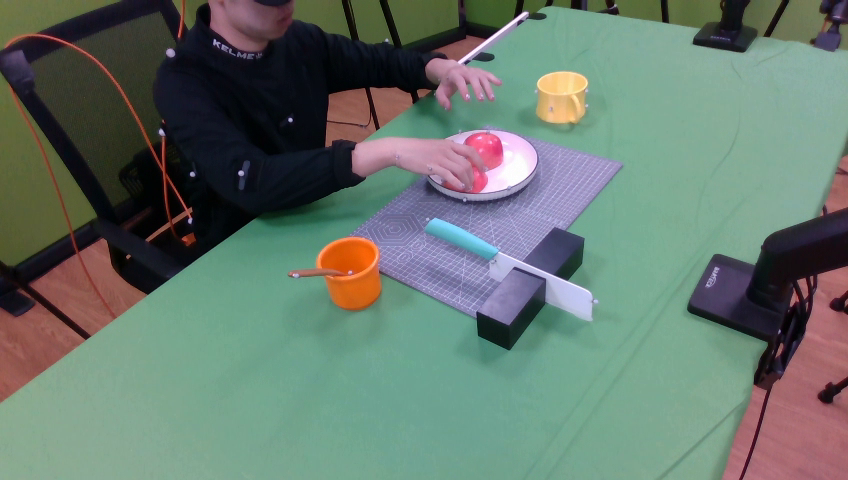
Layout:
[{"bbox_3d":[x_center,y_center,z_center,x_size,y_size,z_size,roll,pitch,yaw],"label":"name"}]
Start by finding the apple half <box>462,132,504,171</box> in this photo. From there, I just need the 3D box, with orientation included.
[{"bbox_3d":[0.108,-0.169,1.110,0.075,0.053,0.080,-5,40,-1],"label":"apple half"}]

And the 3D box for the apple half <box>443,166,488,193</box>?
[{"bbox_3d":[0.074,-0.114,1.065,0.081,0.033,0.081,-5,40,5],"label":"apple half"}]

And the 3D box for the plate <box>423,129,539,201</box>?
[{"bbox_3d":[0.103,-0.132,1.092,0.209,0.038,0.208,-4,40,4],"label":"plate"}]

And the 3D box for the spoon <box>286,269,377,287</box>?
[{"bbox_3d":[-0.125,0.049,0.831,0.041,0.195,0.021,22,93,28],"label":"spoon"}]

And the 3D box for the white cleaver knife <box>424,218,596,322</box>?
[{"bbox_3d":[0.114,0.042,0.865,0.284,0.066,0.021,27,47,28],"label":"white cleaver knife"}]

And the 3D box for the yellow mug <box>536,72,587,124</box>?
[{"bbox_3d":[0.284,-0.281,1.222,0.100,0.064,0.130,-16,42,-9],"label":"yellow mug"}]
